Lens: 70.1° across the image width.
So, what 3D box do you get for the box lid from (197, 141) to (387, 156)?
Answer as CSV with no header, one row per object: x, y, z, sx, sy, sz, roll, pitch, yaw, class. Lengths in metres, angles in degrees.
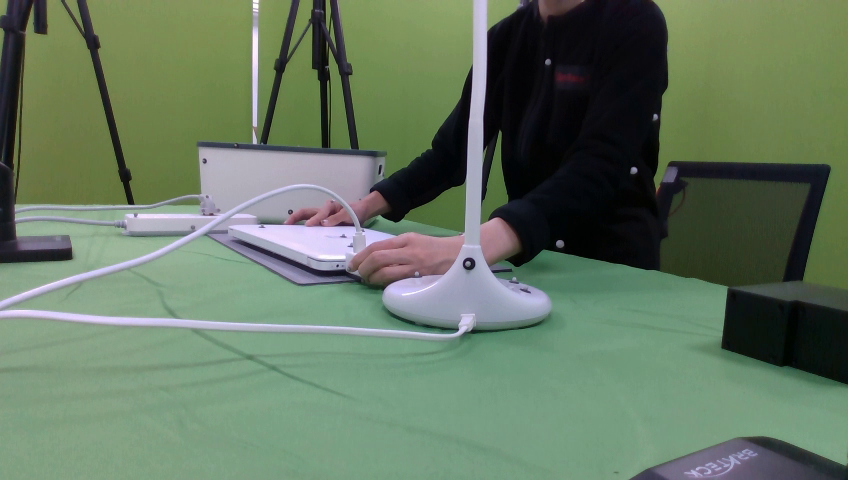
-0.275,-0.198,1.325,0.372,0.015,0.263,3,8,1,box lid

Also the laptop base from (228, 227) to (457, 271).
-0.122,0.011,0.889,0.237,0.023,0.352,2,6,-35,laptop base

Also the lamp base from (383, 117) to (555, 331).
0.045,-0.019,0.547,0.161,0.180,0.179,2,10,-4,lamp base

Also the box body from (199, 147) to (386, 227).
-0.277,-0.124,1.335,0.364,0.160,0.254,3,7,1,box body

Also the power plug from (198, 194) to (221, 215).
-0.387,-0.055,1.089,0.035,0.052,0.072,-1,7,-22,power plug

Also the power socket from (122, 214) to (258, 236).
-0.399,-0.028,1.049,0.228,0.032,0.072,-3,8,-34,power socket

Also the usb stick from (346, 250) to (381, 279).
-0.072,0.027,0.687,0.021,0.027,0.059,-12,10,-34,usb stick

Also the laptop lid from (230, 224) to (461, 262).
-0.119,0.000,0.889,0.243,0.013,0.355,1,7,-34,laptop lid
